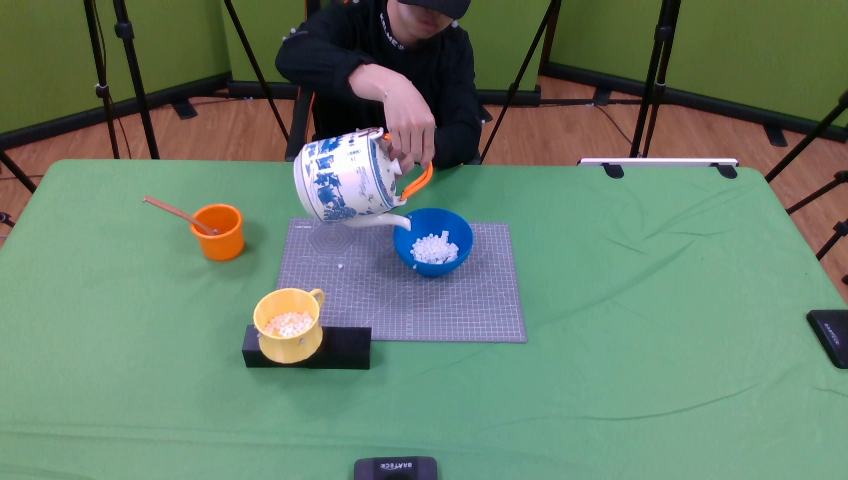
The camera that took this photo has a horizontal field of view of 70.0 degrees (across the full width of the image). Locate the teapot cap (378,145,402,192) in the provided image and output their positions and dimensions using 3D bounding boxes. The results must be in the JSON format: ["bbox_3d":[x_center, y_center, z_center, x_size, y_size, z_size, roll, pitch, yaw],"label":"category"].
[{"bbox_3d":[-0.061,-0.123,1.042,0.044,0.085,0.084,-12,46,6],"label":"teapot cap"}]

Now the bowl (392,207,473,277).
[{"bbox_3d":[0.014,0.016,1.140,0.151,0.077,0.150,2,47,-2],"label":"bowl"}]

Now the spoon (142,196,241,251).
[{"bbox_3d":[-0.421,-0.032,1.108,0.021,0.195,0.041,-32,39,27],"label":"spoon"}]

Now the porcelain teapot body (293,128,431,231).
[{"bbox_3d":[-0.092,-0.094,1.064,0.225,0.206,0.144,-12,34,9],"label":"porcelain teapot body"}]

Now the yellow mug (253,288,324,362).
[{"bbox_3d":[-0.205,0.124,0.963,0.099,0.064,0.130,27,48,21],"label":"yellow mug"}]
